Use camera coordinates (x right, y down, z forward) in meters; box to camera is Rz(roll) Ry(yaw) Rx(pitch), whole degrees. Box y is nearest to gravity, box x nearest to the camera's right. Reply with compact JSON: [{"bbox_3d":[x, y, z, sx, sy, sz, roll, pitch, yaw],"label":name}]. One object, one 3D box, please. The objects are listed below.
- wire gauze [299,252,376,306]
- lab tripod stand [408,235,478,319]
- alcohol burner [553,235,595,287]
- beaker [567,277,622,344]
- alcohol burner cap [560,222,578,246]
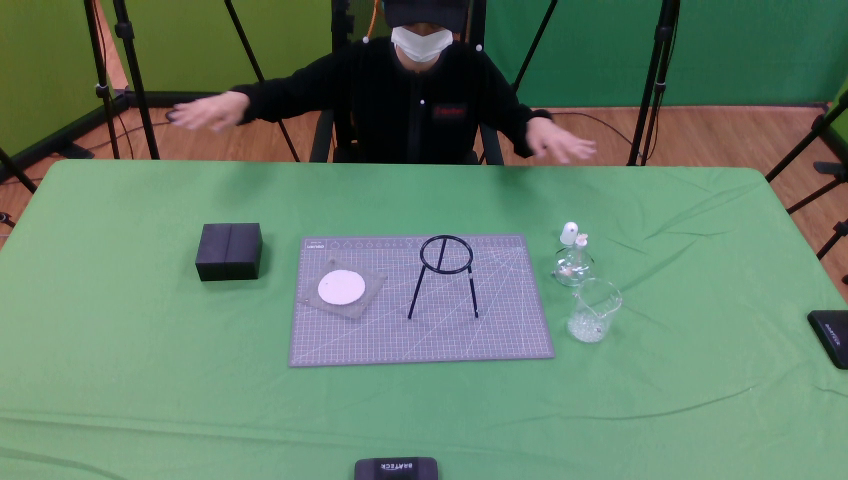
[{"bbox_3d":[-0.155,0.069,1.104,0.125,0.011,0.120,0,48,4],"label":"wire gauze"},{"bbox_3d":[0.032,0.065,1.057,0.148,0.132,0.147,1,45,-1],"label":"lab tripod stand"},{"bbox_3d":[0.282,0.032,1.127,0.078,0.120,0.077,1,48,-1],"label":"alcohol burner"},{"bbox_3d":[0.291,0.127,1.045,0.074,0.101,0.083,7,47,4],"label":"beaker"},{"bbox_3d":[0.295,-0.015,1.223,0.034,0.048,0.033,2,47,-2],"label":"alcohol burner cap"}]
